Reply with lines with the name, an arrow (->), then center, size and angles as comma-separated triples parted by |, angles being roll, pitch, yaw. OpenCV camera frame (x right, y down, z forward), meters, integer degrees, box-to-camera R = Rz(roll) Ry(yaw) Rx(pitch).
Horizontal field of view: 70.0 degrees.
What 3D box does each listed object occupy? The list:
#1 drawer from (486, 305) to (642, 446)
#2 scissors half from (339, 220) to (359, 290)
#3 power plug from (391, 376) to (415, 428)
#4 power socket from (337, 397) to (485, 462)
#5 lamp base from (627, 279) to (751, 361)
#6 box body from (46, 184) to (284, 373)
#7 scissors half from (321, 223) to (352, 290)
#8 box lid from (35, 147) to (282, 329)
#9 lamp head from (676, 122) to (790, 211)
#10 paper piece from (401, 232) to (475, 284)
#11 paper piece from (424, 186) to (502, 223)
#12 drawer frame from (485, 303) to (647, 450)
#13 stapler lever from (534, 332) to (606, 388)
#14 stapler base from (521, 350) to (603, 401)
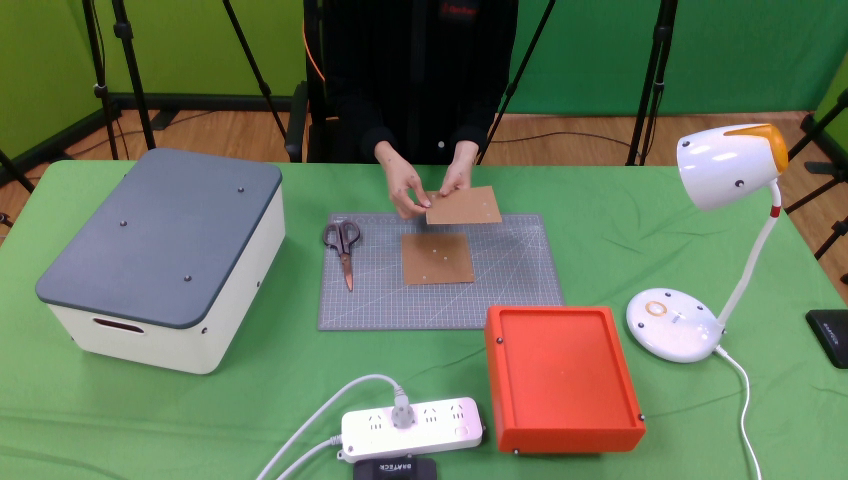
drawer -> 0.202, 0.200, 0.919 | 0.195, 0.073, 0.210 | 2, 47, -4
scissors half -> -0.144, 0.026, 1.162 | 0.040, 0.013, 0.174 | -7, 50, 1
power plug -> -0.031, 0.249, 0.917 | 0.035, 0.053, 0.072 | 3, 46, -1
power socket -> -0.018, 0.285, 0.915 | 0.227, 0.033, 0.071 | -4, 46, -8
lamp base -> 0.460, 0.100, 1.027 | 0.178, 0.181, 0.160 | 27, 51, 17
box body -> -0.414, 0.029, 1.040 | 0.254, 0.161, 0.362 | 10, 46, 5
scissors half -> -0.163, 0.030, 1.159 | 0.040, 0.013, 0.174 | -17, 50, -14
box lid -> -0.411, -0.023, 0.987 | 0.263, 0.015, 0.369 | 10, 47, 5
lamp head -> 0.423, -0.104, 0.819 | 0.122, 0.113, 0.112 | -13, 33, 40
paper piece -> 0.025, 0.032, 1.175 | 0.135, 0.004, 0.135 | -1, 47, -6
paper piece -> 0.070, -0.066, 1.134 | 0.136, 0.009, 0.137 | 0, 32, -3
drawer frame -> 0.204, 0.202, 0.917 | 0.202, 0.083, 0.212 | 1, 47, -4
stapler lever -> 0.225, 0.182, 0.929 | 0.118, 0.040, 0.027 | 26, 34, 15
stapler base -> 0.217, 0.203, 0.942 | 0.130, 0.024, 0.041 | 26, 34, 16
